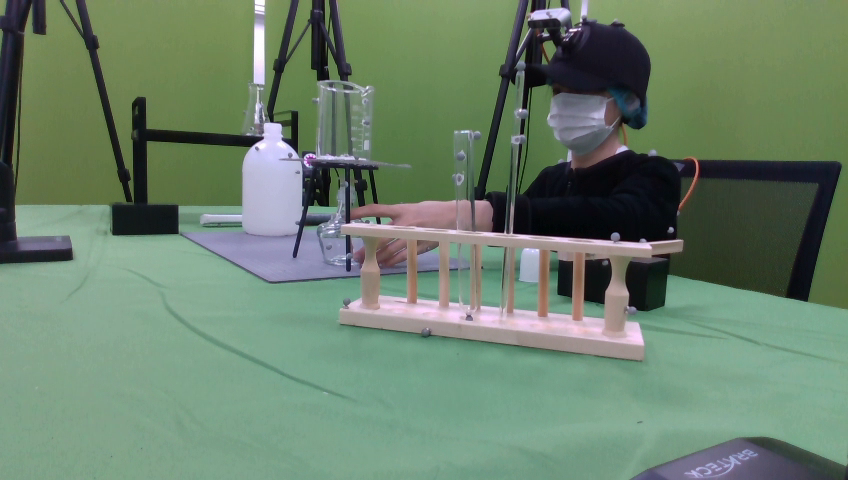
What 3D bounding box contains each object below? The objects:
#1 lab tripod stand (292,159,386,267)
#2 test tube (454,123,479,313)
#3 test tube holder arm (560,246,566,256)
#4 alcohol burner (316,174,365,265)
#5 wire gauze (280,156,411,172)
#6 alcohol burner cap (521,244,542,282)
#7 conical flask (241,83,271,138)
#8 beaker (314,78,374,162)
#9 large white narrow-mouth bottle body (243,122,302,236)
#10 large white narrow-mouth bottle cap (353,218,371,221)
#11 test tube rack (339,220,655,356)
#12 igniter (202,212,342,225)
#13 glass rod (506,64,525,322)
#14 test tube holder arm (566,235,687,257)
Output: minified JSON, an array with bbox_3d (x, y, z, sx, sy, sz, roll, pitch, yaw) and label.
[{"bbox_3d":[-0.105,-0.039,0.797,0.148,0.131,0.148,2,5,0],"label":"lab tripod stand"},{"bbox_3d":[0.034,-0.016,0.477,0.017,0.150,0.017,-2,9,1],"label":"test tube"},{"bbox_3d":[0.173,0.007,0.611,0.088,0.015,0.010,-3,10,-30],"label":"test tube holder arm"},{"bbox_3d":[-0.102,-0.028,0.790,0.078,0.119,0.078,0,6,0],"label":"alcohol burner"},{"bbox_3d":[-0.103,-0.103,0.785,0.121,0.011,0.126,11,8,42],"label":"wire gauze"},{"bbox_3d":[0.136,0.026,0.740,0.034,0.048,0.034,1,5,0],"label":"alcohol burner cap"},{"bbox_3d":[-0.384,-0.297,1.393,0.075,0.122,0.075,2,7,0],"label":"conical flask"},{"bbox_3d":[-0.101,-0.150,0.773,0.074,0.100,0.083,-2,8,-40],"label":"beaker"},{"bbox_3d":[-0.264,-0.109,1.061,0.102,0.194,0.102,2,8,0],"label":"large white narrow-mouth bottle body"},{"bbox_3d":[-0.121,-0.029,1.184,0.038,0.024,0.037,2,8,0],"label":"large white narrow-mouth bottle cap"},{"bbox_3d":[0.056,0.032,0.495,0.242,0.085,0.067,4,7,15],"label":"test tube rack"},{"bbox_3d":[-0.298,-0.043,1.216,0.278,0.025,0.057,-3,-2,-32],"label":"igniter"},{"bbox_3d":[0.069,-0.030,0.458,0.008,0.199,0.008,0,15,0],"label":"glass rod"},{"bbox_3d":[0.215,0.006,0.630,0.179,0.015,0.013,-3,10,-30],"label":"test tube holder arm"}]
